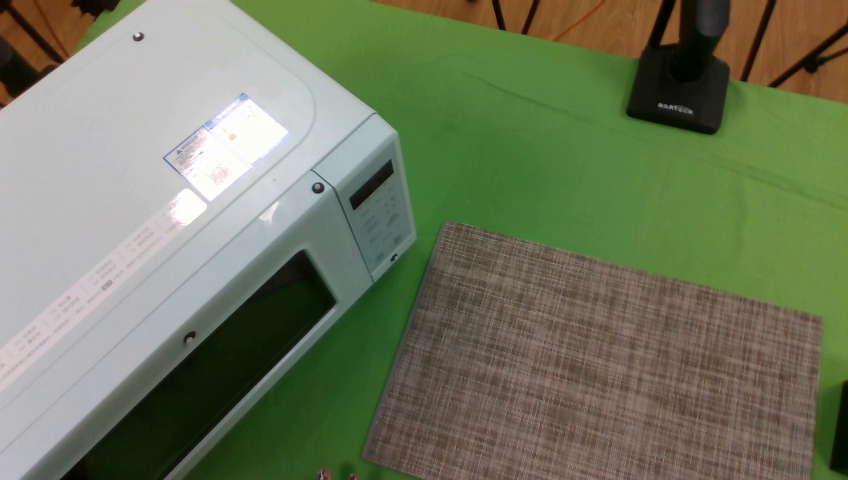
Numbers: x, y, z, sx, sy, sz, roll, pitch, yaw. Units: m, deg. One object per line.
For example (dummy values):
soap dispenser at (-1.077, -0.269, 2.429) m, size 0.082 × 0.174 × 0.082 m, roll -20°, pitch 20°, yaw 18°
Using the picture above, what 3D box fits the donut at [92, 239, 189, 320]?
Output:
donut at (-0.310, 0.043, 0.666) m, size 0.099 × 0.048 × 0.098 m, roll 4°, pitch 54°, yaw -6°

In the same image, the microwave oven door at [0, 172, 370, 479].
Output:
microwave oven door at (-0.201, 0.114, 0.573) m, size 0.039 × 0.245 × 0.355 m, roll 39°, pitch 74°, yaw 18°

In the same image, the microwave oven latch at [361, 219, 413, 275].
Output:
microwave oven latch at (-0.047, 0.003, 0.722) m, size 0.030 × 0.030 × 0.079 m, roll 39°, pitch 75°, yaw 17°

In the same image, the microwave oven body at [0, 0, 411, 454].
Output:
microwave oven body at (-0.281, -0.001, 0.632) m, size 0.324 × 0.262 × 0.441 m, roll 39°, pitch 75°, yaw 17°

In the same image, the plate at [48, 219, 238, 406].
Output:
plate at (-0.291, 0.076, 0.643) m, size 0.209 × 0.038 × 0.207 m, roll -5°, pitch 61°, yaw 10°
